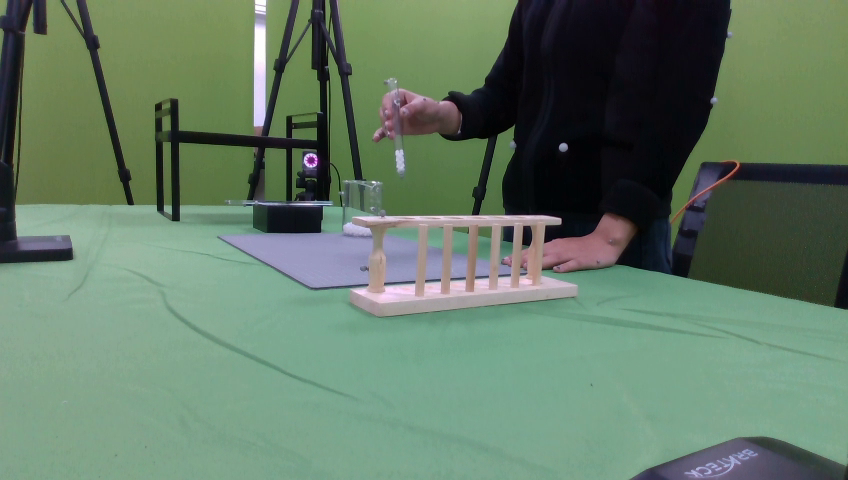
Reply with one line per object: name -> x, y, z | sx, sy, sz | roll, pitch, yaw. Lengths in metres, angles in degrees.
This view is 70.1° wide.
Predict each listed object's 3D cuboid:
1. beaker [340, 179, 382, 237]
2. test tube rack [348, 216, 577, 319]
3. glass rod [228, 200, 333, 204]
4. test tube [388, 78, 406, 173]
beaker -> -0.113, -0.058, 1.094 | 0.074, 0.100, 0.083 | -2, 10, -29
test tube rack -> 0.048, 0.021, 0.619 | 0.244, 0.085, 0.066 | -2, 9, -31
glass rod -> -0.268, -0.071, 1.143 | 0.201, 0.008, 0.008 | -1, 8, -29
test tube -> -0.041, -0.176, 0.928 | 0.017, 0.150, 0.017 | -6, -6, 0
